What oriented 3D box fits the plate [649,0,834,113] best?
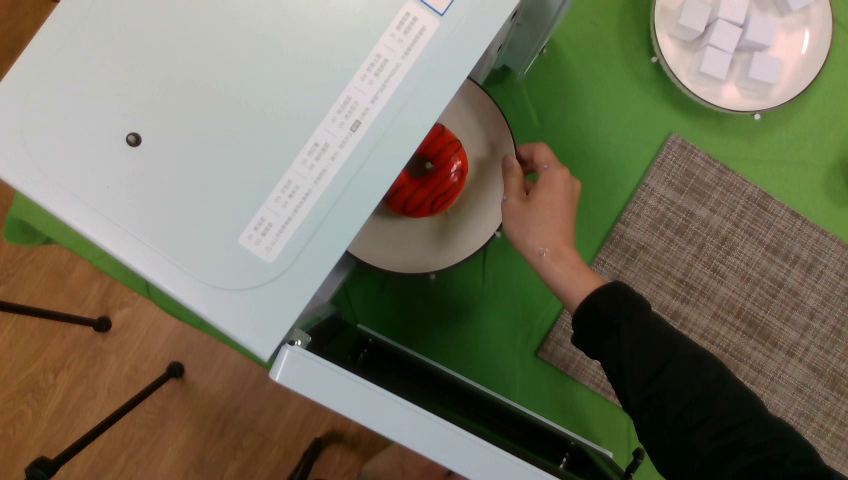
[{"bbox_3d":[0.355,-0.246,0.690,0.208,0.039,0.207,0,89,-2],"label":"plate"}]

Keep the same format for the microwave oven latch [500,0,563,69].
[{"bbox_3d":[0.117,-0.227,0.661,0.030,0.029,0.079,39,89,-2],"label":"microwave oven latch"}]

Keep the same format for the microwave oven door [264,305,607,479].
[{"bbox_3d":[0.044,0.165,0.554,0.356,0.244,0.039,27,88,-2],"label":"microwave oven door"}]

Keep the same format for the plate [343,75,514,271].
[{"bbox_3d":[-0.017,-0.075,0.595,0.209,0.038,0.209,0,94,-3],"label":"plate"}]

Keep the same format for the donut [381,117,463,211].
[{"bbox_3d":[-0.012,-0.077,0.585,0.099,0.048,0.099,0,95,4],"label":"donut"}]

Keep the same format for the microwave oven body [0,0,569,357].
[{"bbox_3d":[-0.103,-0.169,0.555,0.326,0.260,0.441,35,89,-2],"label":"microwave oven body"}]

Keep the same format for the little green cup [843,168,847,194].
[{"bbox_3d":[0.519,-0.070,0.695,0.061,0.038,0.061,0,88,-2],"label":"little green cup"}]
